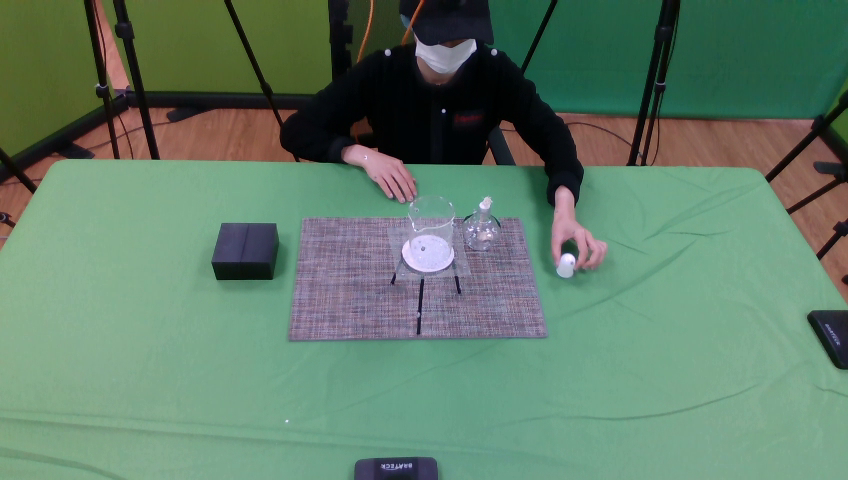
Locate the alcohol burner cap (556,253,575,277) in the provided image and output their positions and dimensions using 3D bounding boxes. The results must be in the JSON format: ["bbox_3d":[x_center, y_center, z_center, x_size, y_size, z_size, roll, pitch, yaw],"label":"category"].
[{"bbox_3d":[0.270,0.044,1.146,0.034,0.048,0.033,3,49,-3],"label":"alcohol burner cap"}]

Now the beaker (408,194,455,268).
[{"bbox_3d":[0.009,-0.010,0.965,0.074,0.101,0.084,23,50,20],"label":"beaker"}]

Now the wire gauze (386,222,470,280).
[{"bbox_3d":[0.005,0.018,1.006,0.125,0.011,0.120,-7,45,-5],"label":"wire gauze"}]

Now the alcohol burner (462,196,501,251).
[{"bbox_3d":[0.112,-0.037,1.173,0.078,0.120,0.077,1,45,-1],"label":"alcohol burner"}]

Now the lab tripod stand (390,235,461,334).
[{"bbox_3d":[-0.002,0.067,1.050,0.148,0.132,0.147,1,47,-1],"label":"lab tripod stand"}]
